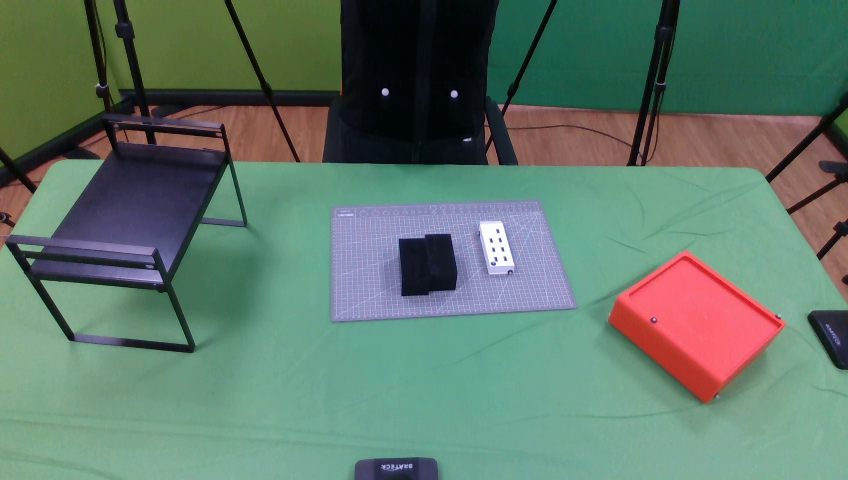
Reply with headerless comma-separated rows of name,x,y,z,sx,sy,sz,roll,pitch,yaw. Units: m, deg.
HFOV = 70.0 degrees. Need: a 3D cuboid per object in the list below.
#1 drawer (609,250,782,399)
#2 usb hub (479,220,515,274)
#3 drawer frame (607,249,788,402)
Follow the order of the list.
drawer,0.469,0.140,1.055,0.194,0.073,0.210,-28,55,-27
usb hub,0.141,0.013,1.188,0.049,0.025,0.124,-3,46,-6
drawer frame,0.470,0.139,1.052,0.202,0.083,0.212,-28,55,-28
